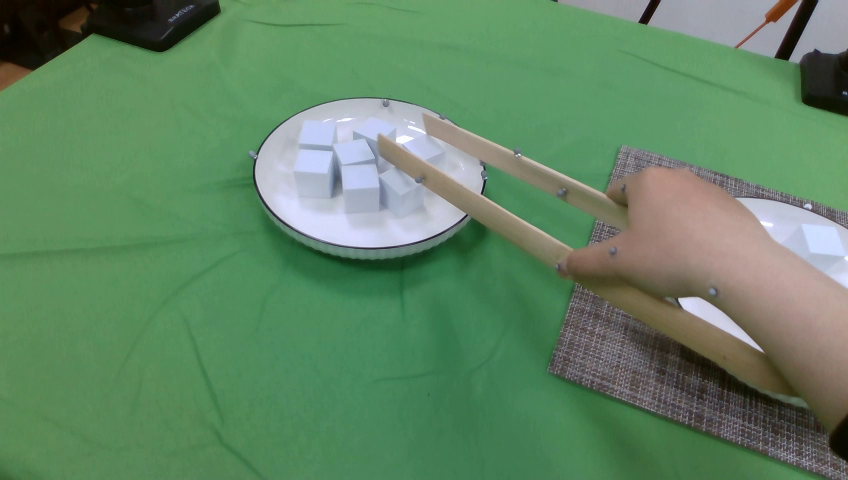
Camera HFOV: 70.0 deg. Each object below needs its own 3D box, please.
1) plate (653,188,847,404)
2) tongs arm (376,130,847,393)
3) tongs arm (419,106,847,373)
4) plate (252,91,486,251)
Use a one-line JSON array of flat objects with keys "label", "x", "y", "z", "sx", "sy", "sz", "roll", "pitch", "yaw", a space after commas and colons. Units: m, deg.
[{"label": "plate", "x": 0.288, "y": 0.042, "z": 0.494, "sx": 0.208, "sy": 0.039, "sz": 0.205, "roll": 3, "pitch": 49, "yaw": -3}, {"label": "tongs arm", "x": 0.090, "y": -0.005, "z": 0.436, "sx": 0.028, "sy": 0.028, "sz": 0.383, "roll": -33, "pitch": 48, "yaw": -29}, {"label": "tongs arm", "x": 0.115, "y": -0.022, "z": 0.450, "sx": 0.051, "sy": 0.027, "sz": 0.381, "roll": -37, "pitch": 49, "yaw": -28}, {"label": "plate", "x": -0.048, "y": -0.063, "z": 0.557, "sx": 0.209, "sy": 0.038, "sz": 0.207, "roll": 3, "pitch": 47, "yaw": -3}]
